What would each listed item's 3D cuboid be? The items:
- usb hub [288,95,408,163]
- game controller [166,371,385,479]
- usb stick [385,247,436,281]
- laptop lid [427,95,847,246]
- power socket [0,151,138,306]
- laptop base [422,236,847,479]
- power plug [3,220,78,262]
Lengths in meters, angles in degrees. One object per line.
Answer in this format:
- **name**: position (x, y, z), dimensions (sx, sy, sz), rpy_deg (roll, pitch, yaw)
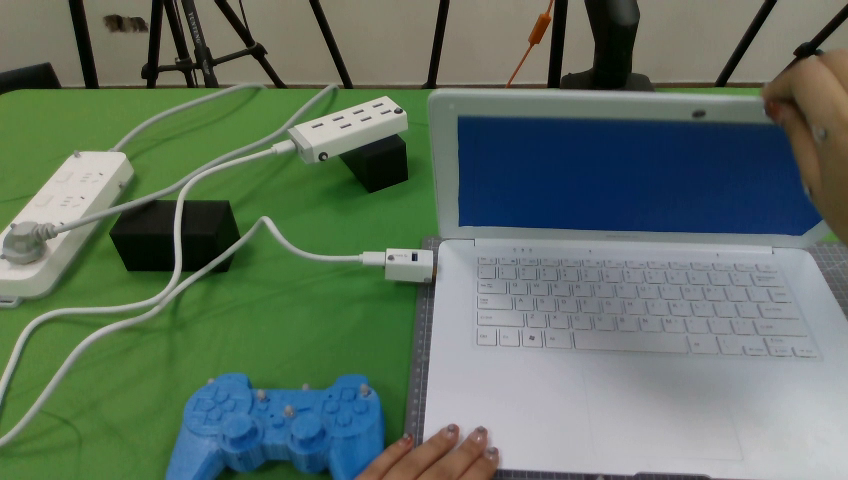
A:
- **usb hub**: position (-0.083, -0.124, 0.671), dimensions (0.125, 0.025, 0.049), rpy_deg (-25, 48, -22)
- **game controller**: position (-0.103, 0.140, 0.443), dimensions (0.155, 0.052, 0.096), rpy_deg (1, 39, 3)
- **usb stick**: position (-0.007, 0.023, 0.564), dimensions (0.059, 0.027, 0.021), rpy_deg (5, 42, -5)
- **laptop lid**: position (0.183, -0.044, 0.483), dimensions (0.356, 0.243, 0.013), rpy_deg (1, 68, 5)
- **power socket**: position (-0.382, -0.024, 0.642), dimensions (0.072, 0.033, 0.224), rpy_deg (3, 42, 5)
- **laptop base**: position (0.182, 0.088, 0.509), dimensions (0.354, 0.023, 0.233), rpy_deg (1, 46, 4)
- **power plug**: position (-0.359, 0.009, 0.569), dimensions (0.072, 0.053, 0.035), rpy_deg (12, 43, 11)
